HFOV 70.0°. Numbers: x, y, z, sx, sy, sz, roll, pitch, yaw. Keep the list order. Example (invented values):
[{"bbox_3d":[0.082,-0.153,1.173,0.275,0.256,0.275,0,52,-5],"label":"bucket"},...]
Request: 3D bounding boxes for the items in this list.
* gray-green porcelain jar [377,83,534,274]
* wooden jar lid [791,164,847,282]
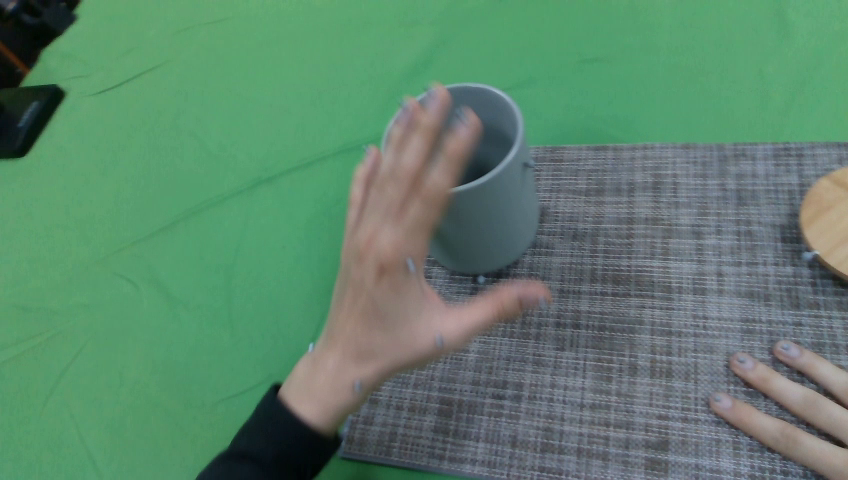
[{"bbox_3d":[0.031,-0.042,0.482,0.105,0.128,0.105,-8,55,12],"label":"gray-green porcelain jar"},{"bbox_3d":[0.325,-0.009,0.437,0.108,0.021,0.107,-8,57,13],"label":"wooden jar lid"}]
